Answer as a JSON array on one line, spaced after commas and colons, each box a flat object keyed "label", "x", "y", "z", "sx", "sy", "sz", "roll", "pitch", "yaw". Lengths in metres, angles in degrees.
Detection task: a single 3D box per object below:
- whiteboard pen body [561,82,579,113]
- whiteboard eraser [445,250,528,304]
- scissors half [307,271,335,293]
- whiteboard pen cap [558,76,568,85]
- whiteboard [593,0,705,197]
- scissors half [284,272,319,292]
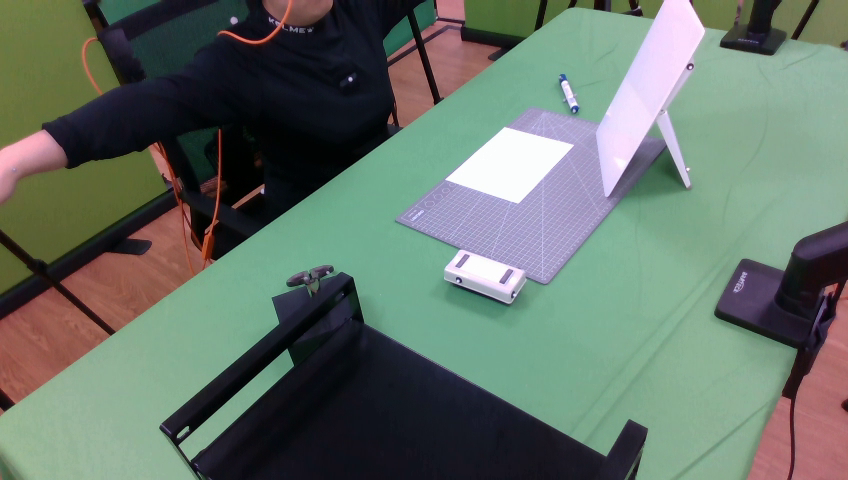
[{"label": "whiteboard pen body", "x": 0.310, "y": -0.311, "z": 1.297, "sx": 0.017, "sy": 0.017, "sz": 0.140, "roll": -6, "pitch": 41, "yaw": 3}, {"label": "whiteboard eraser", "x": 0.090, "y": 0.056, "z": 0.882, "sx": 0.112, "sy": 0.042, "sz": 0.056, "roll": 18, "pitch": 44, "yaw": 27}, {"label": "scissors half", "x": -0.152, "y": 0.061, "z": 0.872, "sx": 0.040, "sy": 0.013, "sz": 0.175, "roll": -3, "pitch": 5, "yaw": -4}, {"label": "whiteboard pen cap", "x": 0.309, "y": -0.350, "z": 1.340, "sx": 0.018, "sy": 0.018, "sz": 0.033, "roll": -6, "pitch": 41, "yaw": 2}, {"label": "whiteboard", "x": 0.421, "y": -0.227, "z": 1.009, "sx": 0.144, "sy": 0.305, "sz": 0.216, "roll": 17, "pitch": 41, "yaw": -3}, {"label": "scissors half", "x": -0.172, "y": 0.063, "z": 0.868, "sx": 0.040, "sy": 0.013, "sz": 0.174, "roll": -10, "pitch": 7, "yaw": -22}]
